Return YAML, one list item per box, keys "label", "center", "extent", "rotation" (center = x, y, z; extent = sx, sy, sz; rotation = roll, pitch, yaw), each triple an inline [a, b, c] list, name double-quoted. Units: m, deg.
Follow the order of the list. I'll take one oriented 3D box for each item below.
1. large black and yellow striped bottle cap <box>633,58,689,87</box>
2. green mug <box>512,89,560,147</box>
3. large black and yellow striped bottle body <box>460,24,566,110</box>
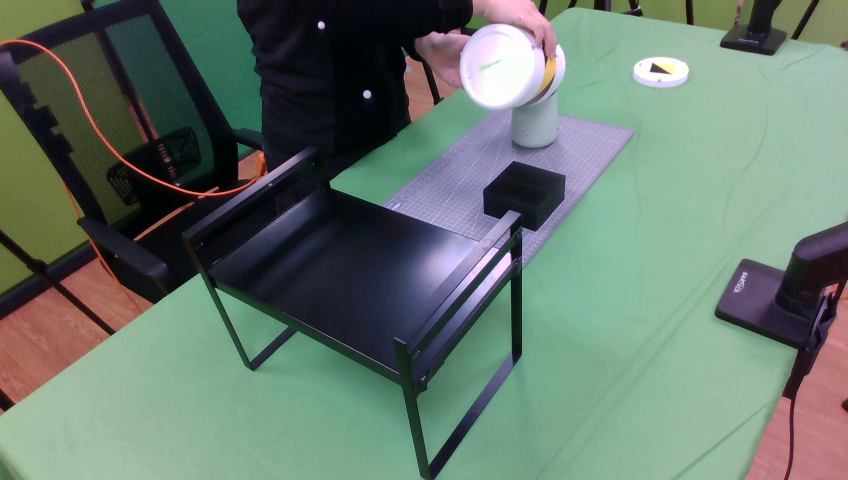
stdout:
- label: "large black and yellow striped bottle cap"
  center: [0.522, -0.370, 1.331]
  extent: [0.115, 0.019, 0.114]
  rotation: [-3, 41, 4]
- label: "green mug"
  center: [0.217, -0.251, 1.169]
  extent: [0.092, 0.105, 0.125]
  rotation: [1, 41, 12]
- label: "large black and yellow striped bottle body"
  center: [0.158, -0.293, 1.024]
  extent: [0.130, 0.131, 0.185]
  rotation: [19, 24, 28]
